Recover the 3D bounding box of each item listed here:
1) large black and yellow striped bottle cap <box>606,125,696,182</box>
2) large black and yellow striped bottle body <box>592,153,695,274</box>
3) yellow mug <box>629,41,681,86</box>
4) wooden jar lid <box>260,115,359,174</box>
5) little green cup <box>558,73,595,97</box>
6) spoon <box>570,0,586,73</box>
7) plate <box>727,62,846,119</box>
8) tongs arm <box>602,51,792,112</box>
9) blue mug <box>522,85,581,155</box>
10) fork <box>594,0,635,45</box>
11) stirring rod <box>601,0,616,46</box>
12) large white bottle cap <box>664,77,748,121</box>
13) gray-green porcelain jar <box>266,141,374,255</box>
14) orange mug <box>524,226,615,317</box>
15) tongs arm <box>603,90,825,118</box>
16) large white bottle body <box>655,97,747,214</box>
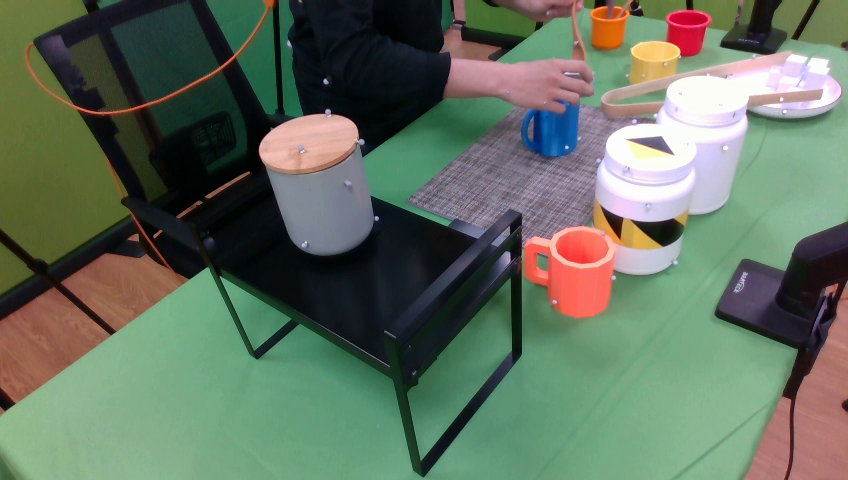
[{"bbox_3d":[0.305,-0.119,0.816,0.115,0.019,0.114,-5,41,5],"label":"large black and yellow striped bottle cap"},{"bbox_3d":[0.313,-0.056,0.872,0.131,0.185,0.130,-4,41,4],"label":"large black and yellow striped bottle body"},{"bbox_3d":[0.495,-0.389,1.321,0.100,0.064,0.130,-14,40,-6],"label":"yellow mug"},{"bbox_3d":[-0.124,-0.101,0.662,0.108,0.021,0.108,-4,41,4],"label":"wooden jar lid"},{"bbox_3d":[0.255,-0.262,1.019,0.061,0.038,0.061,-1,18,1],"label":"little green cup"},{"bbox_3d":[0.266,-0.387,1.058,0.022,0.194,0.041,-10,12,-18],"label":"spoon"},{"bbox_3d":[0.709,-0.292,1.198,0.207,0.039,0.206,-4,40,4],"label":"plate"},{"bbox_3d":[0.552,-0.320,1.224,0.384,0.027,0.050,-10,44,7],"label":"tongs arm"},{"bbox_3d":[0.234,-0.219,1.127,0.117,0.106,0.081,-21,42,-15],"label":"blue mug"},{"bbox_3d":[0.484,-0.552,1.447,0.207,0.019,0.028,-51,46,17],"label":"fork"},{"bbox_3d":[0.452,-0.554,1.464,0.014,0.006,0.176,11,86,15],"label":"stirring rod"},{"bbox_3d":[0.421,-0.212,0.905,0.115,0.018,0.114,-4,40,4],"label":"large white bottle cap"},{"bbox_3d":[-0.117,-0.054,0.703,0.106,0.127,0.105,-4,40,4],"label":"gray-green porcelain jar"},{"bbox_3d":[0.201,0.039,0.845,0.125,0.101,0.083,18,46,21],"label":"orange mug"},{"bbox_3d":[0.546,-0.262,1.163,0.386,0.028,0.028,-1,49,18],"label":"tongs arm"},{"bbox_3d":[0.431,-0.148,0.959,0.130,0.185,0.130,-4,41,4],"label":"large white bottle body"}]
